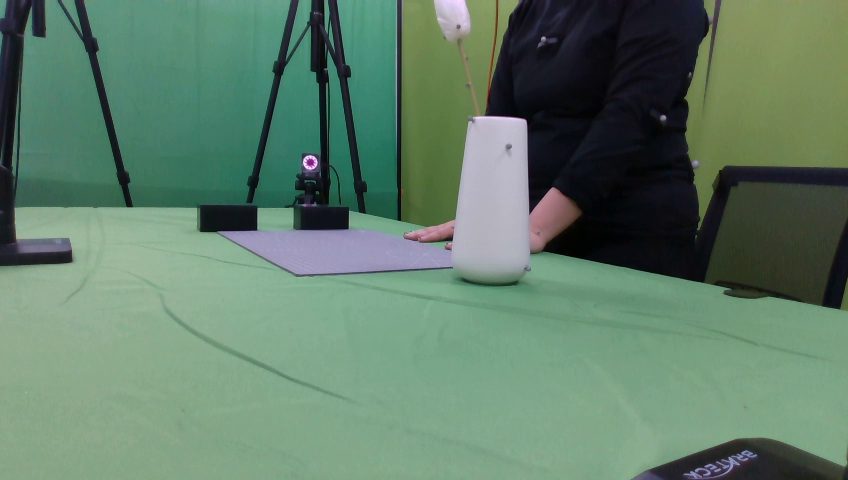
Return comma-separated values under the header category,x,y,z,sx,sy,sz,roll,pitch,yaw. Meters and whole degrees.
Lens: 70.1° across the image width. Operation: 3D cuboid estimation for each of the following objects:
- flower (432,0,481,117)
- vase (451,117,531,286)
category,x,y,z,sx,sy,sz,roll,pitch,yaw
flower,0.071,-0.129,0.736,0.038,0.361,0.044,-15,-2,42
vase,0.083,-0.047,0.737,0.098,0.200,0.098,1,6,0
